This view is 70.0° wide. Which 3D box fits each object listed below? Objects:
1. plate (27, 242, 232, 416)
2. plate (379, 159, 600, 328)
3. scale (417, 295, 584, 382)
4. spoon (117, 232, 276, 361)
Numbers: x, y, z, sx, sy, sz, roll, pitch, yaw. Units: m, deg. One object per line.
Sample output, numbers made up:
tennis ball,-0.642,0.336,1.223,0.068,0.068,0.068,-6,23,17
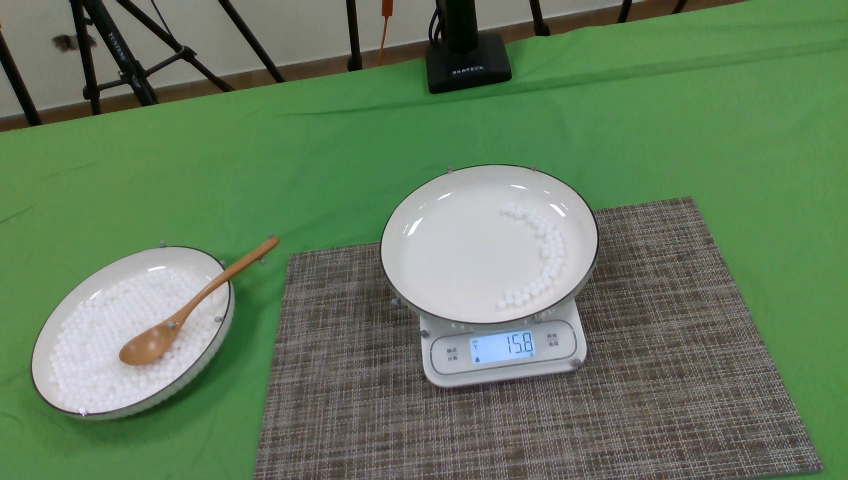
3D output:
plate,-0.298,0.090,0.630,0.209,0.038,0.207,-6,48,6
plate,0.062,0.002,0.586,0.207,0.039,0.205,-6,48,7
scale,0.064,0.039,0.596,0.148,0.032,0.199,-9,48,5
spoon,-0.228,0.054,0.625,0.193,0.022,0.041,-44,54,-16
